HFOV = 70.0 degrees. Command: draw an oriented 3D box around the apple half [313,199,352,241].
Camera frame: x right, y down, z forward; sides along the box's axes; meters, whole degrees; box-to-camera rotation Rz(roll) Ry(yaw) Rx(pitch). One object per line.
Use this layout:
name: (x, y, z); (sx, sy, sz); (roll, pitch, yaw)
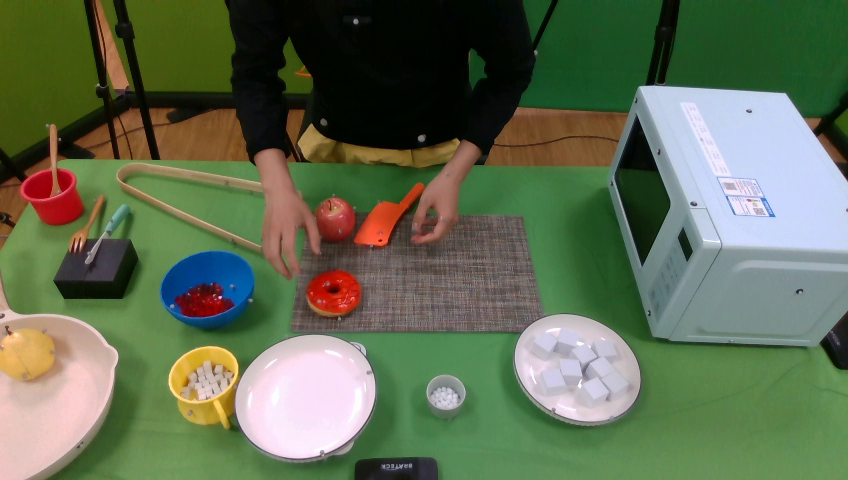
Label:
apple half: (-0.185, -0.033, 1.176); (0.080, 0.075, 0.053); (35, 57, 22)

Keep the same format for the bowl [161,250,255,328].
bowl: (-0.362, 0.098, 1.040); (0.151, 0.077, 0.150); (2, 45, -2)

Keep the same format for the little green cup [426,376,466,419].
little green cup: (0.033, 0.248, 0.950); (0.061, 0.039, 0.061); (2, 46, -2)

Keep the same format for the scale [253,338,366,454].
scale: (-0.175, 0.236, 0.951); (0.149, 0.032, 0.199); (4, 46, 0)

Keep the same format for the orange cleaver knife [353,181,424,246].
orange cleaver knife: (-0.070, -0.059, 1.245); (0.077, 0.012, 0.210); (18, 50, 21)

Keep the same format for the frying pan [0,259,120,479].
frying pan: (-0.647, 0.164, 0.936); (0.307, 0.103, 0.485); (-19, 58, -22)

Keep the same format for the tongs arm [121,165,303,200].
tongs arm: (-0.444, -0.112, 1.267); (0.384, 0.026, 0.050); (11, 51, 8)

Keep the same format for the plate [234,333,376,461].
plate: (-0.175, 0.235, 0.907); (0.209, 0.038, 0.208); (2, 46, -2)

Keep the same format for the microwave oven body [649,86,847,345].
microwave oven body: (0.568, -0.053, 1.118); (0.326, 0.261, 0.439); (2, 45, -1)

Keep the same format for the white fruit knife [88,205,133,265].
white fruit knife: (-0.584, -0.013, 1.129); (0.016, 0.027, 0.206); (0, 31, -5)

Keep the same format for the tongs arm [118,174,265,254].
tongs arm: (-0.473, -0.052, 1.212); (0.386, 0.028, 0.028); (23, 57, 18)

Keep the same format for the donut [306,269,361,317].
donut: (-0.160, 0.094, 1.075); (0.099, 0.048, 0.098); (4, 45, -4)

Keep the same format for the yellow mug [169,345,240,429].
yellow mug: (-0.322, 0.231, 0.922); (0.100, 0.064, 0.130); (-24, 53, -25)

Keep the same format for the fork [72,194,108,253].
fork: (-0.634, -0.036, 1.158); (0.028, 0.019, 0.206); (-8, 32, -8)

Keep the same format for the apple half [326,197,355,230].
apple half: (-0.159, -0.054, 1.196); (0.081, 0.082, 0.033); (34, 57, 26)

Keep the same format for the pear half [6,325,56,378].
pear half: (-0.608, 0.158, 0.935); (0.076, 0.110, 0.056); (31, 51, 20)

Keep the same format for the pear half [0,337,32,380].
pear half: (-0.631, 0.184, 0.921); (0.070, 0.088, 0.031); (29, 49, 19)

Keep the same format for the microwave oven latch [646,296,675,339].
microwave oven latch: (0.412, 0.134, 1.061); (0.030, 0.029, 0.078); (4, 45, 1)

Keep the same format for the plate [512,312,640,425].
plate: (0.246, 0.213, 0.999); (0.208, 0.039, 0.206); (2, 46, -2)

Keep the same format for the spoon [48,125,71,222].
spoon: (-0.718, -0.131, 1.188); (0.041, 0.021, 0.193); (-3, 90, -7)

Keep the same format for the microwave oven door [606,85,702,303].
microwave oven door: (0.422, -0.094, 1.140); (0.039, 0.245, 0.353); (2, 46, -1)
